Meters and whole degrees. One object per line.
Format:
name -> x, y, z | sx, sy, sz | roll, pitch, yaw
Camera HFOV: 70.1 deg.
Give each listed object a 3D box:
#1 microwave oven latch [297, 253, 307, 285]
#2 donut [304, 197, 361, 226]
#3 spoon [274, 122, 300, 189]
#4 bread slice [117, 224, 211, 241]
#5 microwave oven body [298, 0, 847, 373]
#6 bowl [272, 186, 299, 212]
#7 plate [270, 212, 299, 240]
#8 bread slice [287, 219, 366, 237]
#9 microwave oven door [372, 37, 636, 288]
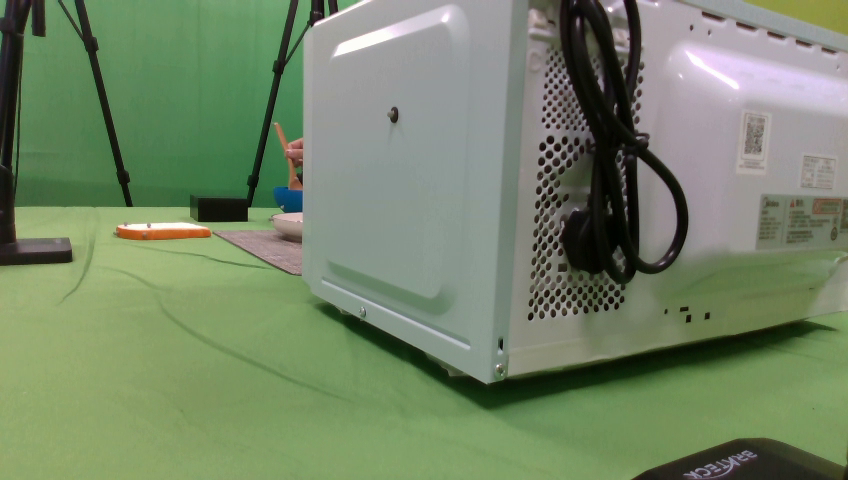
microwave oven latch -> -0.081, 0.027, 0.582 | 0.079, 0.029, 0.030 | -1, 7, -32
donut -> -0.159, -0.050, 1.055 | 0.099, 0.048, 0.099 | 3, 8, 0
spoon -> -0.303, -0.176, 1.354 | 0.042, 0.193, 0.021 | -11, -6, -42
bread slice -> -0.443, -0.015, 1.022 | 0.132, 0.019, 0.104 | -3, 8, -45
microwave oven body -> 0.151, -0.055, 0.542 | 0.444, 0.260, 0.324 | -2, 7, -33
bowl -> -0.254, -0.075, 1.318 | 0.151, 0.077, 0.151 | 2, 7, 0
plate -> -0.162, -0.022, 1.057 | 0.208, 0.039, 0.207 | 2, 7, 0
bread slice -> -0.170, -0.022, 1.056 | 0.134, 0.018, 0.107 | 2, 7, -6
microwave oven door -> 0.109, -0.080, 0.686 | 0.358, 0.243, 0.039 | -2, 9, -33
